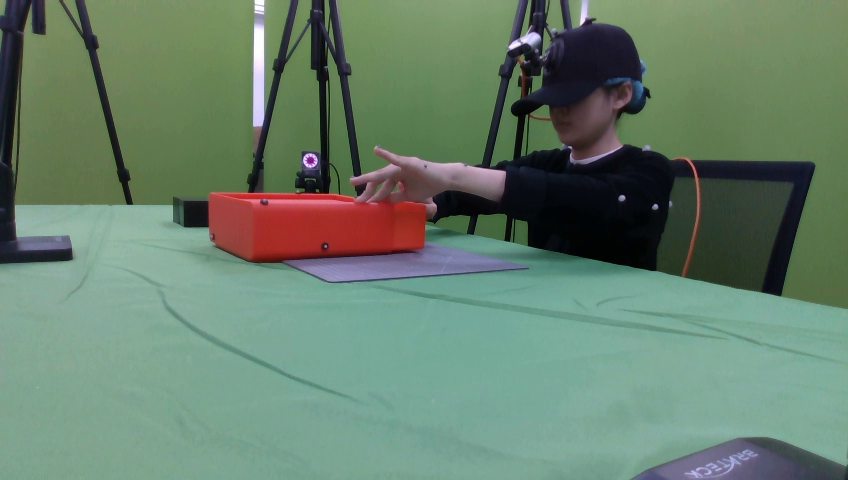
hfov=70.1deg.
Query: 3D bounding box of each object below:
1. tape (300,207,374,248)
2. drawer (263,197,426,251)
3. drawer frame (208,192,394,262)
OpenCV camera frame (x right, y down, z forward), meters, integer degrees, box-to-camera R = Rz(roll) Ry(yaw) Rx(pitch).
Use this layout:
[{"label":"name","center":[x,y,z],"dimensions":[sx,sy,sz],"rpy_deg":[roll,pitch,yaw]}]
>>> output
[{"label":"tape","center":[-0.138,-0.021,0.945],"dimensions":[0.117,0.052,0.117],"rpy_deg":[3,8,0]},{"label":"drawer","center":[-0.136,-0.027,0.936],"dimensions":[0.213,0.073,0.193],"rpy_deg":[-2,10,-35]},{"label":"drawer frame","center":[-0.185,-0.026,0.900],"dimensions":[0.215,0.082,0.200],"rpy_deg":[-3,10,-35]}]
